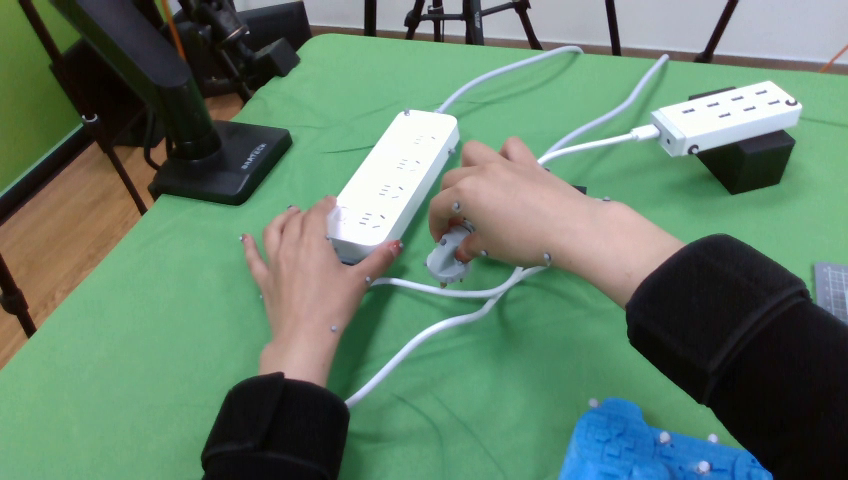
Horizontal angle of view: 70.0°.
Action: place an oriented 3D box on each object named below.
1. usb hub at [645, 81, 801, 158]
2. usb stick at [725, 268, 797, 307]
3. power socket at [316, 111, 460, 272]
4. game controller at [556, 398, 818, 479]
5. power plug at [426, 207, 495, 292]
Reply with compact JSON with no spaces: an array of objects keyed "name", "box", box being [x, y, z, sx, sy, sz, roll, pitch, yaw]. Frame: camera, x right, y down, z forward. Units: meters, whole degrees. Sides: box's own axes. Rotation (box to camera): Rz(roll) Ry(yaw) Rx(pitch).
[{"name":"usb hub","box":[0.274,-0.111,0.558,0.125,0.025,0.049,-16,46,-6]},{"name":"usb stick","box":[0.268,0.038,0.474,0.059,0.027,0.021,3,22,-20]},{"name":"power socket","box":[-0.030,-0.059,0.612,0.072,0.033,0.225,14,49,19]},{"name":"game controller","box":[0.160,0.153,0.368,0.154,0.052,0.096,12,44,18]},{"name":"power plug","box":[0.035,0.012,0.494,0.072,0.053,0.035,-24,50,-18]}]
